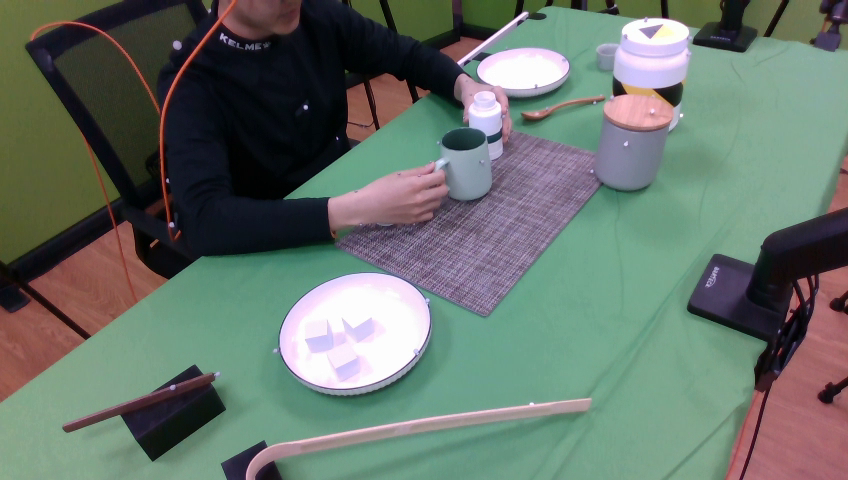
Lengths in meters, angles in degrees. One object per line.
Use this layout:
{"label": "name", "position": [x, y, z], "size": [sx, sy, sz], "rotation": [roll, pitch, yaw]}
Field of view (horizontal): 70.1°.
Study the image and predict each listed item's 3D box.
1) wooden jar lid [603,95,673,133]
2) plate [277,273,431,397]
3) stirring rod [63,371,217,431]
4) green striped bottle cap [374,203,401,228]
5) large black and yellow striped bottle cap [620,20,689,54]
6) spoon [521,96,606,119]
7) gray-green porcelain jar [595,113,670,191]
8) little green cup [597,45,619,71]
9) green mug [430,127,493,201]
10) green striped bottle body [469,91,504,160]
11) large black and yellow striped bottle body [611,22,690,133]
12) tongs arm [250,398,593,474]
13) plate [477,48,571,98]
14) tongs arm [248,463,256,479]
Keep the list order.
{"label": "wooden jar lid", "position": [0.343, -0.200, 0.974], "size": [0.108, 0.021, 0.108], "rotation": [-2, 39, 2]}
{"label": "plate", "position": [-0.091, 0.129, 0.821], "size": [0.207, 0.039, 0.206], "rotation": [-4, 40, 4]}
{"label": "stirring rod", "position": [-0.337, 0.192, 0.723], "size": [0.177, 0.014, 0.005], "rotation": [-18, 43, -12]}
{"label": "green striped bottle cap", "position": [-0.063, -0.042, 1.029], "size": [0.044, 0.020, 0.044], "rotation": [-3, 44, 3]}
{"label": "large black and yellow striped bottle cap", "position": [0.411, -0.363, 1.080], "size": [0.115, 0.019, 0.114], "rotation": [-3, 42, 4]}
{"label": "spoon", "position": [0.291, -0.277, 1.249], "size": [0.194, 0.022, 0.041], "rotation": [-18, 23, -11]}
{"label": "gray-green porcelain jar", "position": [0.346, -0.155, 1.017], "size": [0.106, 0.127, 0.105], "rotation": [-2, 44, 2]}
{"label": "little green cup", "position": [0.423, -0.413, 1.376], "size": [0.061, 0.039, 0.061], "rotation": [-4, 41, 4]}
{"label": "green mug", "position": [0.059, -0.122, 1.034], "size": [0.126, 0.105, 0.091], "rotation": [-35, 48, -28]}
{"label": "green striped bottle body", "position": [0.116, -0.213, 1.120], "size": [0.063, 0.120, 0.063], "rotation": [-4, 40, 4]}
{"label": "large black and yellow striped bottle body", "position": [0.420, -0.299, 1.132], "size": [0.131, 0.185, 0.130], "rotation": [-5, 40, 4]}
{"label": "tongs arm", "position": [0.008, 0.212, 0.675], "size": [0.389, 0.028, 0.028], "rotation": [-5, 46, -11]}
{"label": "plate", "position": [0.223, -0.371, 1.357], "size": [0.209, 0.038, 0.208], "rotation": [-4, 41, 4]}
{"label": "tongs arm", "position": [0.012, 0.262, 0.615], "size": [0.385, 0.026, 0.050], "rotation": [2, 42, -2]}
